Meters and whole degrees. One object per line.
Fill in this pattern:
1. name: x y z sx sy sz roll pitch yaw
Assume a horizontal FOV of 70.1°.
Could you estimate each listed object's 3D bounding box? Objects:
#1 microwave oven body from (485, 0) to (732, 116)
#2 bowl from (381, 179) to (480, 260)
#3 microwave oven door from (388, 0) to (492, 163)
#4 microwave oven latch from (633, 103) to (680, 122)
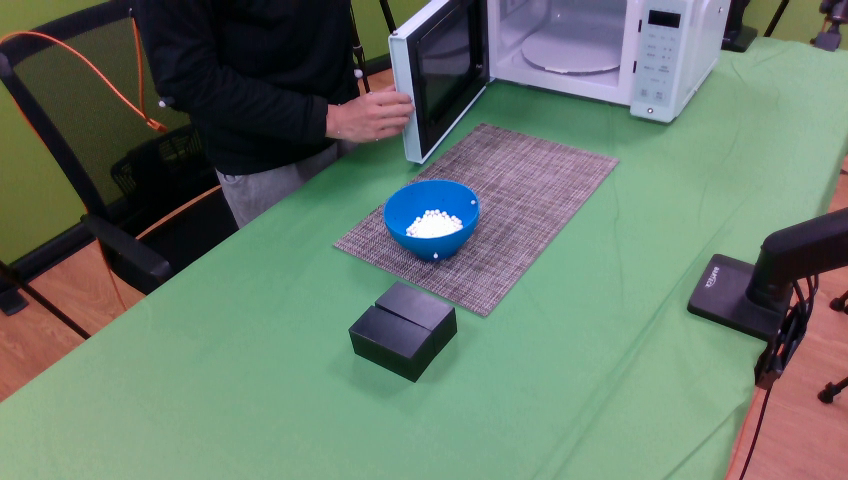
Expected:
1. microwave oven body: 0.377 -0.462 1.267 0.438 0.261 0.327 21 49 30
2. bowl: 0.014 -0.021 0.942 0.151 0.077 0.150 -4 40 4
3. microwave oven door: 0.045 -0.345 1.170 0.039 0.245 0.356 14 45 23
4. microwave oven latch: 0.443 -0.249 1.157 0.078 0.029 0.030 20 48 30
